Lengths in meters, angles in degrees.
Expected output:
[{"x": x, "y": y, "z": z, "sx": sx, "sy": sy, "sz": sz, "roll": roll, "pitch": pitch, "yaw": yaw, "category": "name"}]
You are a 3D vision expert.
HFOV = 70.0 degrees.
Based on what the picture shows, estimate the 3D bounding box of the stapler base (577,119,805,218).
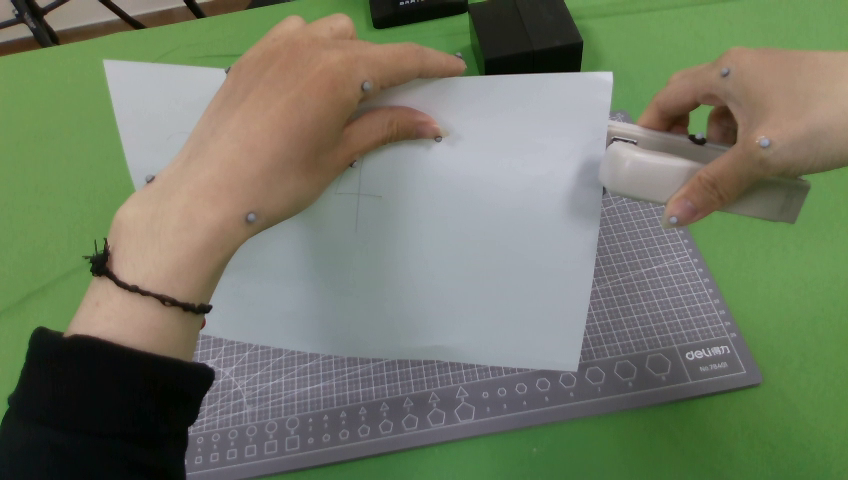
[{"x": 0.159, "y": -0.040, "z": 0.361, "sx": 0.130, "sy": 0.041, "sz": 0.024, "roll": 11, "pitch": 25, "yaw": 2, "category": "stapler base"}]

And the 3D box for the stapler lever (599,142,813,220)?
[{"x": 0.158, "y": -0.032, "z": 0.338, "sx": 0.118, "sy": 0.027, "sz": 0.040, "roll": 11, "pitch": 24, "yaw": 2, "category": "stapler lever"}]
